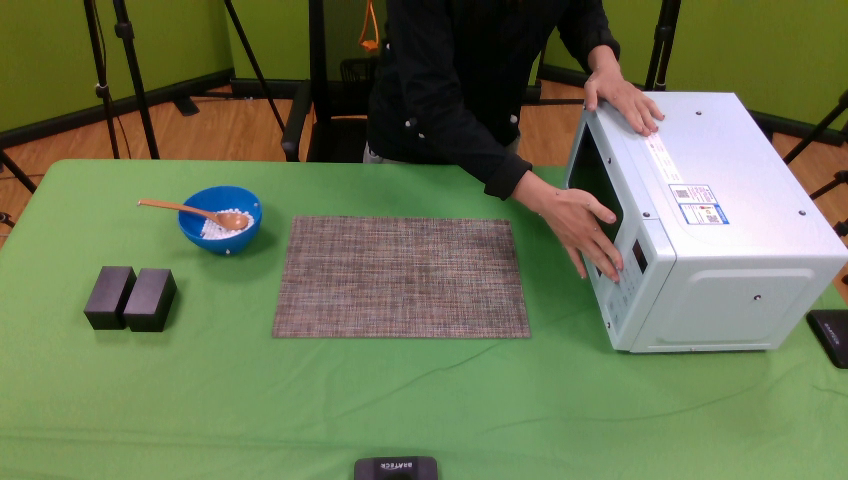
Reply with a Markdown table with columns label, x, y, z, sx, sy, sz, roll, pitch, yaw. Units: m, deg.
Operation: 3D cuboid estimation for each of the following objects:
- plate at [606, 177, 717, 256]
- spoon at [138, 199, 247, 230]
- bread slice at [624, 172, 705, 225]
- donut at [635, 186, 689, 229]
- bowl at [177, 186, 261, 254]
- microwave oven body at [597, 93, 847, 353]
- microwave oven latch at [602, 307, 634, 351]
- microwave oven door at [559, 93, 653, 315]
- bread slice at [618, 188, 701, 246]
| label | x | y | z | sx | sy | sz | roll | pitch | yaw |
| --- | --- | --- | --- | --- | --- | --- | --- | --- | --- |
| plate | 0.456 | -0.043 | 1.181 | 0.208 | 0.039 | 0.206 | 1 | 46 | -1 |
| spoon | -0.431 | -0.053 | 1.135 | 0.194 | 0.022 | 0.041 | 15 | 48 | -20 |
| bread slice | 0.459 | -0.078 | 1.139 | 0.131 | 0.019 | 0.105 | 35 | 51 | 30 |
| donut | 0.454 | -0.062 | 1.160 | 0.099 | 0.048 | 0.098 | -1 | 48 | 2 |
| bowl | -0.383 | -0.026 | 1.158 | 0.151 | 0.077 | 0.150 | 2 | 46 | -2 |
| microwave oven body | 0.475 | -0.041 | 1.110 | 0.326 | 0.261 | 0.438 | -1 | 45 | -4 |
| microwave oven latch | 0.332 | 0.153 | 1.044 | 0.030 | 0.029 | 0.078 | -1 | 45 | -4 |
| microwave oven door | 0.327 | -0.074 | 1.123 | 0.039 | 0.245 | 0.353 | -1 | 46 | -5 |
| bread slice | 0.463 | -0.042 | 1.174 | 0.133 | 0.018 | 0.107 | 30 | 59 | 28 |
